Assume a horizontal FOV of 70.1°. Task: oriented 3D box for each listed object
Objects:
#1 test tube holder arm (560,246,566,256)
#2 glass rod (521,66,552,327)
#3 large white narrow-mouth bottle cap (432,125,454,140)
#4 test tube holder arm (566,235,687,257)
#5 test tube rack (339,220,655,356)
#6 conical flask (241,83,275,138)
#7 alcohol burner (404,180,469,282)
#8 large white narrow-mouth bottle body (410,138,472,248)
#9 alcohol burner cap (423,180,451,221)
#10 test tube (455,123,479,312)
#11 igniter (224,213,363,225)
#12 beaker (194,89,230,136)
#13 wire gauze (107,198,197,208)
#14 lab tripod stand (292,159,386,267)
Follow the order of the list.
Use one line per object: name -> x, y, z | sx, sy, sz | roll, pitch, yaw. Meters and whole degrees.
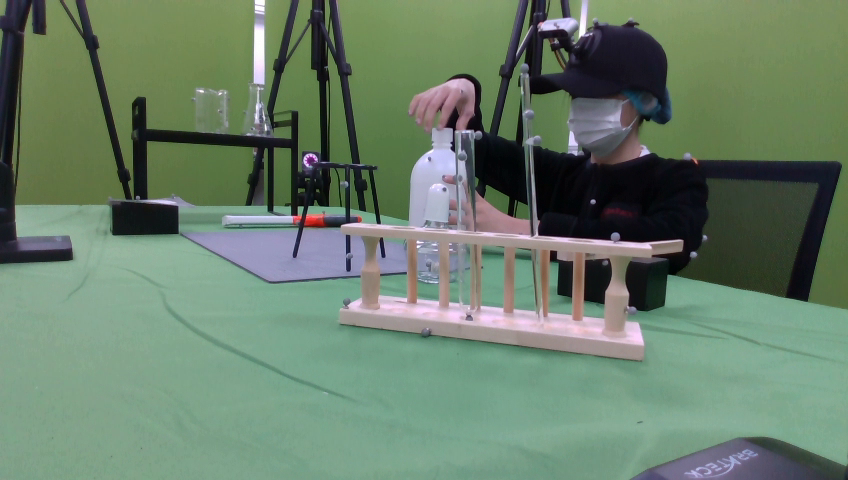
test tube holder arm -> 0.173, 0.007, 0.611 | 0.088, 0.015, 0.010 | -3, 9, -30
glass rod -> 0.085, -0.028, 0.454 | 0.008, 0.199, 0.008 | -7, 10, 2
large white narrow-mouth bottle cap -> 0.032, -0.176, 0.992 | 0.038, 0.024, 0.037 | 2, 8, 0
test tube holder arm -> 0.215, 0.006, 0.630 | 0.179, 0.015, 0.013 | -3, 9, -30
test tube rack -> 0.056, 0.032, 0.495 | 0.242, 0.085, 0.067 | 4, 7, 15
conical flask -> -0.383, -0.297, 1.392 | 0.075, 0.122, 0.075 | 2, 7, 0
alcohol burner -> 0.015, -0.011, 0.715 | 0.078, 0.119, 0.078 | 0, 7, 0
large white narrow-mouth bottle body -> 0.029, -0.088, 1.005 | 0.102, 0.194, 0.102 | 2, 8, 0
alcohol burner cap -> 0.017, -0.047, 0.711 | 0.034, 0.048, 0.034 | 8, 5, 0
test tube -> 0.034, -0.016, 0.476 | 0.017, 0.150, 0.017 | -2, 10, 1
igniter -> -0.255, -0.041, 1.210 | 0.278, 0.025, 0.057 | -2, -2, -31
beaker -> -0.472, -0.283, 1.352 | 0.074, 0.100, 0.083 | -4, 10, -35
wire gauze -> -0.462, -0.064, 1.023 | 0.126, 0.011, 0.121 | -2, 7, -32
lab tripod stand -> -0.105, -0.039, 0.798 | 0.148, 0.131, 0.148 | 2, 5, 0
